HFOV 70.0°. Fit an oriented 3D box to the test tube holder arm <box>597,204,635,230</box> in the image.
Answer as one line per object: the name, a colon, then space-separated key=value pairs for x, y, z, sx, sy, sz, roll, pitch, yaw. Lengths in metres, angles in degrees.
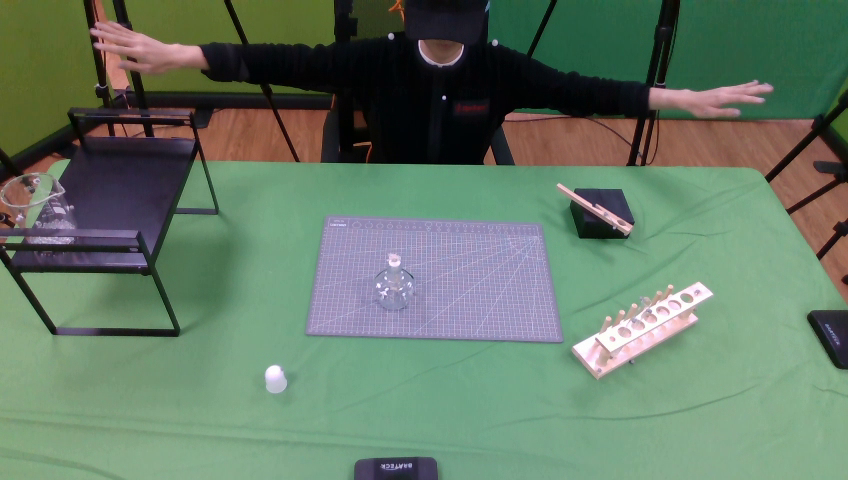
test tube holder arm: x=0.376 y=-0.045 z=1.195 sx=0.010 sy=0.015 sz=0.087 roll=-39 pitch=58 yaw=-24

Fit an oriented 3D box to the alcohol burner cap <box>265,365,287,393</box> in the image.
alcohol burner cap: x=-0.236 y=0.216 z=0.956 sx=0.034 sy=0.048 sz=0.033 roll=3 pitch=45 yaw=-3

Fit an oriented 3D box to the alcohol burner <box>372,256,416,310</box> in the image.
alcohol burner: x=-0.052 y=0.068 z=1.057 sx=0.078 sy=0.120 sz=0.077 roll=1 pitch=48 yaw=-1

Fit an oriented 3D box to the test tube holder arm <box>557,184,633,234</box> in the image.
test tube holder arm: x=0.340 y=-0.064 z=1.215 sx=0.177 sy=0.015 sz=0.013 roll=35 pitch=62 yaw=29

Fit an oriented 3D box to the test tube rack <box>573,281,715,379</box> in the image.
test tube rack: x=0.378 y=0.140 z=1.038 sx=0.242 sy=0.085 sz=0.066 roll=-22 pitch=51 yaw=-23

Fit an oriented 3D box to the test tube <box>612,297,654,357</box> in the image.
test tube: x=0.329 y=0.142 z=0.964 sx=0.017 sy=0.151 sz=0.017 roll=5 pitch=46 yaw=-5

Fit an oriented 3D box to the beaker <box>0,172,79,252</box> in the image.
beaker: x=-0.557 y=-0.038 z=0.889 sx=0.084 sy=0.101 sz=0.073 roll=-3 pitch=47 yaw=-8
